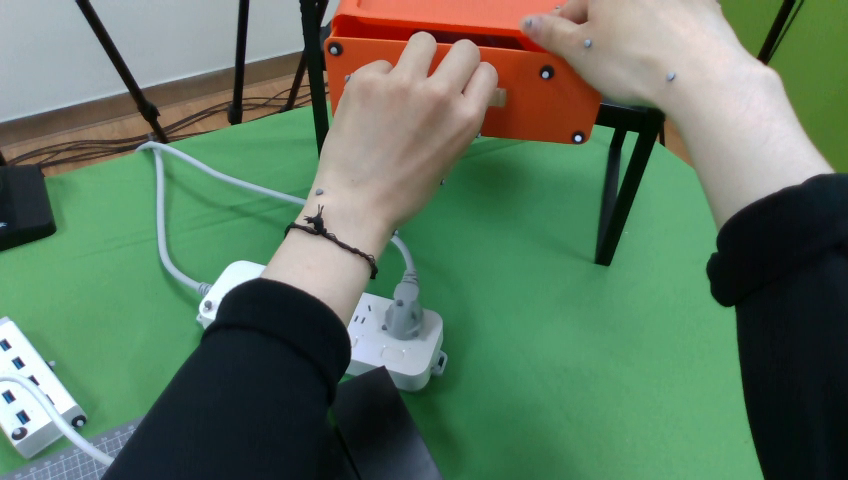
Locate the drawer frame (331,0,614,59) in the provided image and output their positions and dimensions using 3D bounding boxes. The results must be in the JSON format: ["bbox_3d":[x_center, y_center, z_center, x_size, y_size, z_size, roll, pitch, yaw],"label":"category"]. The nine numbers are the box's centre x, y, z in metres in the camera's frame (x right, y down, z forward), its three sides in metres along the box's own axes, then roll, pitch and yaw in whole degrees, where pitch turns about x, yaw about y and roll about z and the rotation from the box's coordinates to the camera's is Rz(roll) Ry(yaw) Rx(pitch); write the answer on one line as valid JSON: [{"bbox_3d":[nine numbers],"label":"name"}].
[{"bbox_3d":[0.041,-0.200,0.518,0.202,0.083,0.211,5,46,1],"label":"drawer frame"}]

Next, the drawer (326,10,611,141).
[{"bbox_3d":[0.038,-0.177,0.498,0.194,0.074,0.210,5,46,2],"label":"drawer"}]

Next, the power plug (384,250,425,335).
[{"bbox_3d":[-0.008,0.052,0.527,0.035,0.053,0.072,22,51,19],"label":"power plug"}]

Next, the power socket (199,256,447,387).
[{"bbox_3d":[-0.089,0.069,0.537,0.226,0.033,0.072,14,47,11],"label":"power socket"}]

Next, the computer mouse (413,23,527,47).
[{"bbox_3d":[0.046,-0.157,0.498,0.063,0.041,0.116,-26,57,-31],"label":"computer mouse"}]

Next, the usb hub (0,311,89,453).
[{"bbox_3d":[-0.327,0.111,0.488,0.124,0.025,0.049,35,54,26],"label":"usb hub"}]
